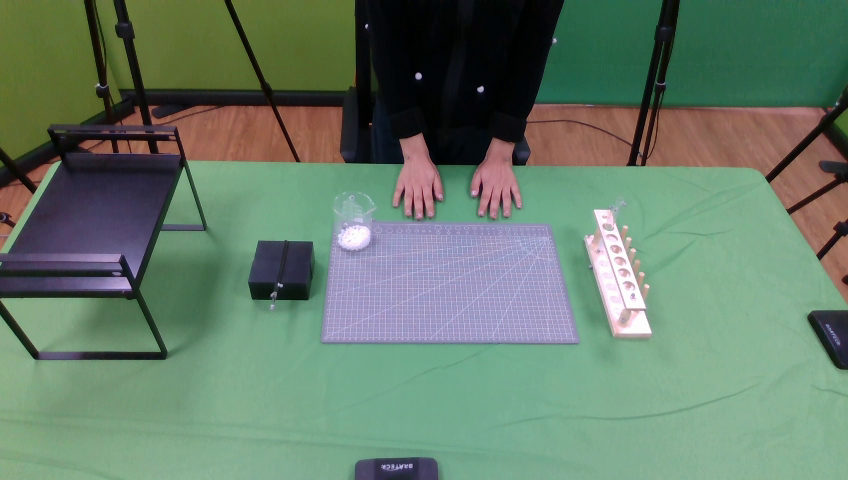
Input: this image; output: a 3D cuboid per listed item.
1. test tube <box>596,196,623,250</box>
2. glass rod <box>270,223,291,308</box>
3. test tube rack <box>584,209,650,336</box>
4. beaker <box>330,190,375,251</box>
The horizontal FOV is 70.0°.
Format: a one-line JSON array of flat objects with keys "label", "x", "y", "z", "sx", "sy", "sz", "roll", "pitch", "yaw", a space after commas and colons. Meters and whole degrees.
[{"label": "test tube", "x": 0.348, "y": -0.029, "z": 1.140, "sx": 0.017, "sy": 0.151, "sz": 0.017, "roll": 0, "pitch": 53, "yaw": 0}, {"label": "glass rod", "x": -0.255, "y": 0.041, "z": 1.082, "sx": 0.008, "sy": 0.008, "sz": 0.198, "roll": 2, "pitch": 46, "yaw": -2}, {"label": "test tube rack", "x": 0.365, "y": 0.056, "z": 1.129, "sx": 0.067, "sy": 0.085, "sz": 0.240, "roll": 1, "pitch": 46, "yaw": -3}, {"label": "beaker", "x": -0.136, "y": -0.034, "z": 1.163, "sx": 0.084, "sy": 0.101, "sz": 0.073, "roll": 3, "pitch": 46, "yaw": -3}]
